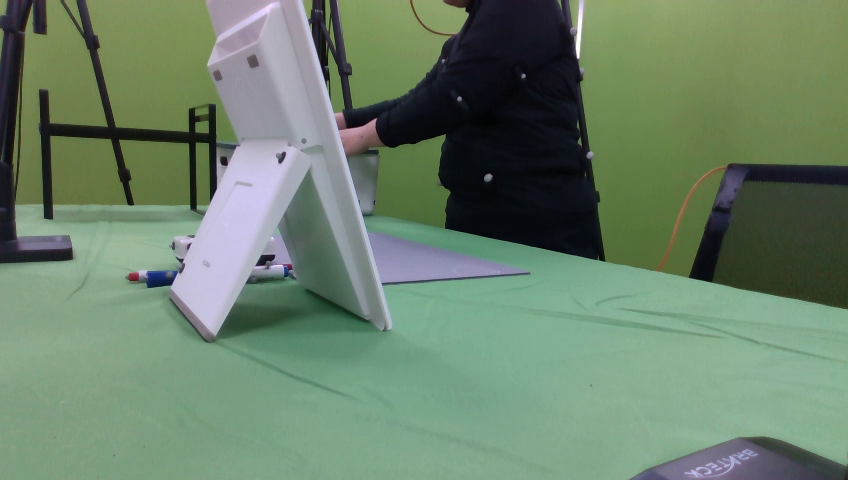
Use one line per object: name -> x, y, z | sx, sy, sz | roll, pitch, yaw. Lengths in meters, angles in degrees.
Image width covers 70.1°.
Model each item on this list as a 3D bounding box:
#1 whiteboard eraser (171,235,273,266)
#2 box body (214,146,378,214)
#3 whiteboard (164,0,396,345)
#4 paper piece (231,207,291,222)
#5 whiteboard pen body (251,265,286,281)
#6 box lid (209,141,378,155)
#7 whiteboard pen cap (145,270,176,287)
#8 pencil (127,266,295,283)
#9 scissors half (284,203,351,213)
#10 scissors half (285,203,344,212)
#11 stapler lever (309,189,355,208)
whiteboard eraser -> -0.248, 0.014, 0.747 | 0.113, 0.042, 0.055 | -1, 9, -32
box body -> -0.328, -0.154, 1.543 | 0.366, 0.160, 0.253 | -2, 9, -32
whiteboard -> -0.173, -0.053, 0.511 | 0.144, 0.305, 0.216 | -23, 19, -26
paper piece -> -0.395, -0.062, 1.461 | 0.139, 0.008, 0.135 | 13, -4, -22
whiteboard pen body -> -0.220, 0.039, 0.656 | 0.141, 0.017, 0.017 | -2, 9, -30
box lid -> -0.330, -0.231, 1.525 | 0.373, 0.015, 0.262 | -2, 10, -32
whiteboard pen cap -> -0.271, 0.039, 0.627 | 0.033, 0.018, 0.018 | -3, 10, -33
pencil -> -0.231, 0.037, 0.691 | 0.195, 0.012, 0.012 | -2, 9, -34
scissors half -> -0.268, -0.079, 1.535 | 0.176, 0.013, 0.040 | -7, 12, -23
scissors half -> -0.280, -0.081, 1.552 | 0.040, 0.013, 0.176 | 1, 9, 45
stapler lever -> -0.228, -0.104, 1.507 | 0.119, 0.040, 0.026 | 3, 17, -35
